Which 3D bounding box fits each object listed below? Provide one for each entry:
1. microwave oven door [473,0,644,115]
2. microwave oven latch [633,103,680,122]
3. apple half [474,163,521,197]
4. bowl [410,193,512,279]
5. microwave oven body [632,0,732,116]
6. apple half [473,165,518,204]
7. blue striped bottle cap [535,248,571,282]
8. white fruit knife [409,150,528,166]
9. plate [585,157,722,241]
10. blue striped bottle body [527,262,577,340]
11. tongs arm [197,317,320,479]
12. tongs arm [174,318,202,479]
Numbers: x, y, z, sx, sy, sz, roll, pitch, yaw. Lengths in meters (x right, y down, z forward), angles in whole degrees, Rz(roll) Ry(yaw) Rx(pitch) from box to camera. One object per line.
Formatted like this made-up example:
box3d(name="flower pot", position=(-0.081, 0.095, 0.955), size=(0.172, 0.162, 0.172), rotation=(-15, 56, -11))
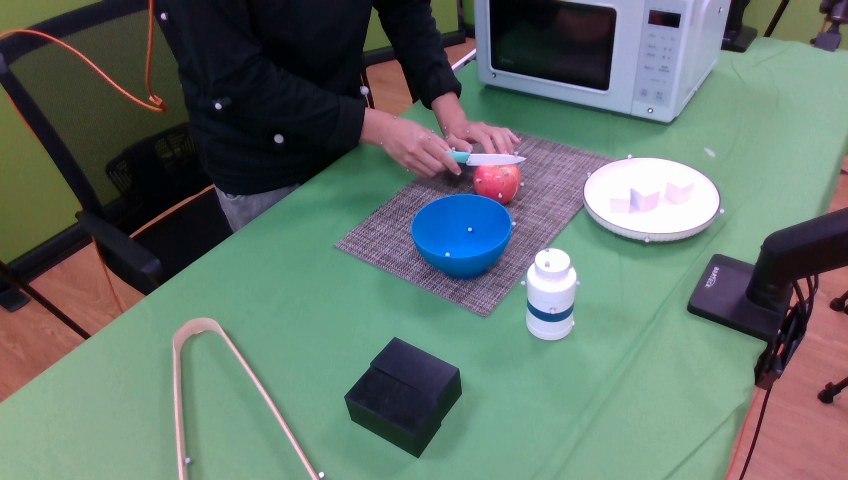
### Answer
box3d(name="microwave oven door", position=(0.257, -0.396, 1.199), size=(0.353, 0.245, 0.039), rotation=(21, 48, 29))
box3d(name="microwave oven latch", position=(0.444, -0.249, 1.158), size=(0.078, 0.029, 0.030), rotation=(21, 49, 30))
box3d(name="apple half", position=(0.130, -0.109, 1.033), size=(0.080, 0.075, 0.053), rotation=(9, 38, 23))
box3d(name="bowl", position=(0.058, 0.005, 0.905), size=(0.151, 0.077, 0.150), rotation=(-4, 40, 4))
box3d(name="microwave oven body", position=(0.377, -0.463, 1.267), size=(0.438, 0.261, 0.327), rotation=(21, 49, 30))
box3d(name="apple half", position=(0.115, -0.085, 1.005), size=(0.081, 0.081, 0.033), rotation=(11, 39, 20))
box3d(name="blue striped bottle cap", position=(0.161, 0.031, 0.753), size=(0.044, 0.021, 0.044), rotation=(-4, 42, 4))
box3d(name="white fruit knife", position=(0.070, -0.136, 1.001), size=(0.206, 0.027, 0.016), rotation=(4, 38, 20))
box3d(name="plate", position=(0.367, -0.063, 0.979), size=(0.207, 0.039, 0.206), rotation=(-4, 40, 4))
box3d(name="blue striped bottle body", position=(0.165, 0.070, 0.786), size=(0.063, 0.121, 0.063), rotation=(-5, 41, 4))
box3d(name="tongs arm", position=(-0.199, 0.206, 0.750), size=(0.028, 0.028, 0.384), rotation=(-31, 45, -22))
box3d(name="tongs arm", position=(-0.272, 0.234, 0.723), size=(0.051, 0.026, 0.381), rotation=(-19, 40, -14))
